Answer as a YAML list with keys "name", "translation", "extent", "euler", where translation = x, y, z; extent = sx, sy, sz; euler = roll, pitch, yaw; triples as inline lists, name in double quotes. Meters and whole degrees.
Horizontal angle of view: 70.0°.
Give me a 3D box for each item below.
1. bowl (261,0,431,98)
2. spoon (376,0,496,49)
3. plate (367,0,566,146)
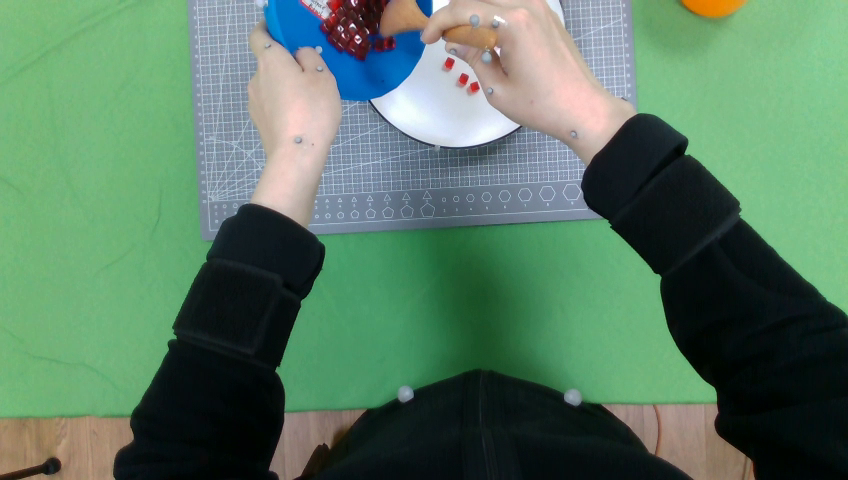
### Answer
- name: "bowl"
  translation: [-0.075, -0.199, 0.502]
  extent: [0.076, 0.153, 0.151]
  euler: [26, 92, 45]
- name: "spoon"
  translation: [0.005, -0.156, 0.434]
  extent: [0.022, 0.191, 0.041]
  euler: [26, 100, -36]
- name: "plate"
  translation: [0.033, -0.195, 0.596]
  extent: [0.209, 0.038, 0.209]
  euler: [0, 90, 3]
